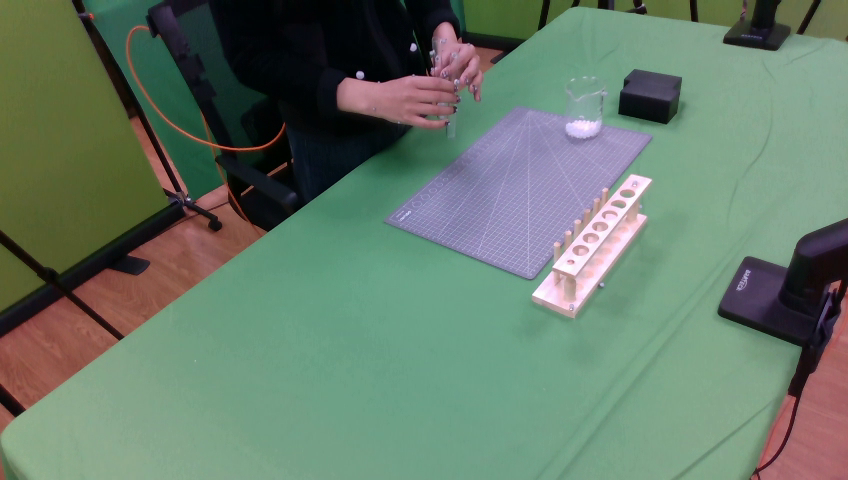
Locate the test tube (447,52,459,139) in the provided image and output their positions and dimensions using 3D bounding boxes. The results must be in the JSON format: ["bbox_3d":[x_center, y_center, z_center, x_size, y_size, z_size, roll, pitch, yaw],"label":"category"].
[{"bbox_3d":[0.049,-0.241,1.021,0.017,0.151,0.017,1,32,0],"label":"test tube"}]

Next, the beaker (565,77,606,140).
[{"bbox_3d":[0.304,-0.247,1.153,0.073,0.101,0.084,15,46,27],"label":"beaker"}]

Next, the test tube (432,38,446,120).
[{"bbox_3d":[0.025,-0.269,1.022,0.017,0.151,0.017,-3,44,3],"label":"test tube"}]

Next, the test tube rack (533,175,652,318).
[{"bbox_3d":[0.250,-0.001,0.889,0.066,0.085,0.243,22,49,33],"label":"test tube rack"}]
